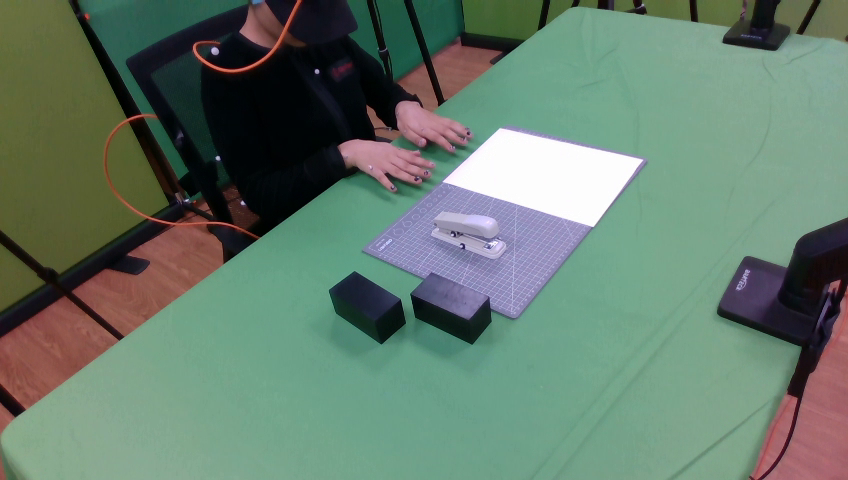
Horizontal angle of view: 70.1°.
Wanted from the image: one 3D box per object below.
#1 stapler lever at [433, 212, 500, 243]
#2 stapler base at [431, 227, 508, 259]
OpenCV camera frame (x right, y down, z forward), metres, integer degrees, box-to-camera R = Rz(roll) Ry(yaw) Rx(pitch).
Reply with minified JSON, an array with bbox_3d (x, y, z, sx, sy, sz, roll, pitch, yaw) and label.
[{"bbox_3d":[0.067,-0.026,0.957,0.117,0.040,0.027,20,46,33],"label":"stapler lever"},{"bbox_3d":[0.072,-0.007,0.972,0.129,0.024,0.041,20,45,33],"label":"stapler base"}]
